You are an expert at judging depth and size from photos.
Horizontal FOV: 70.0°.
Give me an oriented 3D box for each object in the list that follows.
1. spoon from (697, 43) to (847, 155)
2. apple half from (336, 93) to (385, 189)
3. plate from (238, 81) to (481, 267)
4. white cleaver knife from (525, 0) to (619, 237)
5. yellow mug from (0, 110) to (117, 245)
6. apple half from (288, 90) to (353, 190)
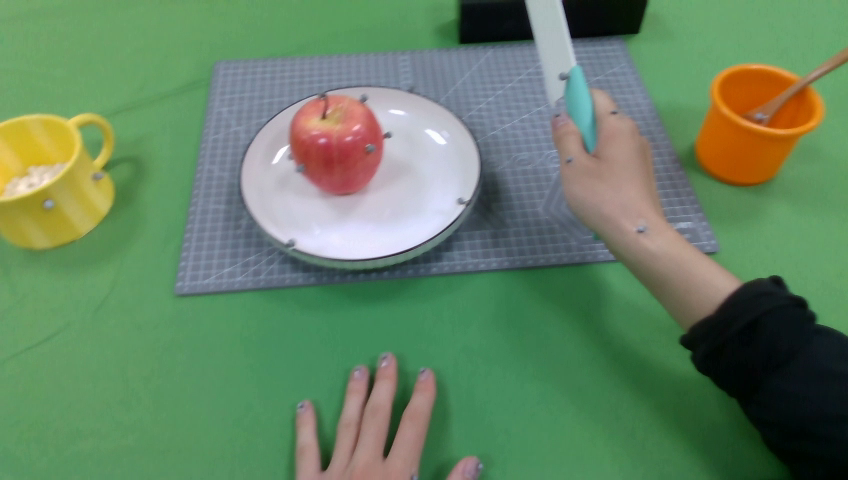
[{"bbox_3d":[0.327,-0.135,0.520,0.022,0.194,0.041,25,40,-37],"label":"spoon"},{"bbox_3d":[-0.049,-0.082,0.517,0.033,0.082,0.080,3,54,9],"label":"apple half"},{"bbox_3d":[-0.055,-0.059,0.534,0.209,0.038,0.207,0,55,0],"label":"plate"},{"bbox_3d":[0.109,-0.143,0.483,0.021,0.066,0.286,-12,89,-9],"label":"white cleaver knife"},{"bbox_3d":[-0.322,-0.065,0.526,0.099,0.064,0.130,25,57,17],"label":"yellow mug"},{"bbox_3d":[-0.088,-0.085,0.521,0.053,0.075,0.080,4,57,9],"label":"apple half"}]
